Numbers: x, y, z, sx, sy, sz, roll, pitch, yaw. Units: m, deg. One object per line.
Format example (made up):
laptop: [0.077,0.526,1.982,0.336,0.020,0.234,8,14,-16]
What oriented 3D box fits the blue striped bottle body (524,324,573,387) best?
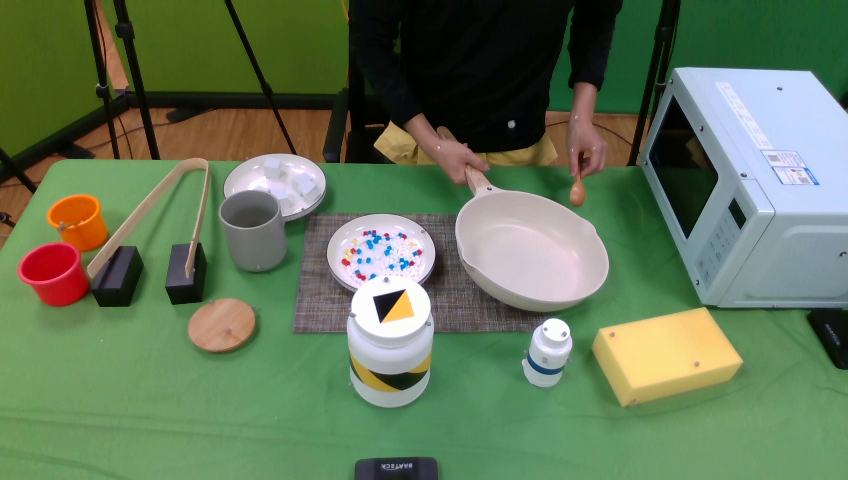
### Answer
blue striped bottle body: [0.200,0.178,0.970,0.063,0.121,0.062,2,46,-1]

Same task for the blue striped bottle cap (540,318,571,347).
blue striped bottle cap: [0.203,0.142,0.933,0.044,0.021,0.044,3,49,-3]

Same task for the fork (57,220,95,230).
fork: [-0.624,-0.027,1.086,0.028,0.207,0.018,-3,92,-17]

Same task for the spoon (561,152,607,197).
spoon: [0.339,-0.141,1.275,0.021,0.042,0.193,25,44,37]

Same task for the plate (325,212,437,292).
plate: [-0.080,0.030,1.143,0.209,0.038,0.208,2,46,-2]

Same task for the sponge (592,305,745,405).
sponge: [0.405,0.190,1.014,0.207,0.061,0.117,-10,48,-13]

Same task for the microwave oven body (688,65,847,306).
microwave oven body: [0.669,-0.111,1.176,0.326,0.261,0.439,0,46,-3]

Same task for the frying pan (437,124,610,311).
frying pan: [0.149,-0.059,1.175,0.307,0.103,0.485,-13,58,-29]

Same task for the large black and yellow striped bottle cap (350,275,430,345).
large black and yellow striped bottle cap: [-0.048,0.097,0.868,0.115,0.019,0.114,3,48,-3]

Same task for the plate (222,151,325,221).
plate: [-0.310,-0.106,1.262,0.208,0.039,0.206,2,47,-2]

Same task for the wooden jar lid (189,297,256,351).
wooden jar lid: [-0.342,0.145,1.033,0.108,0.021,0.107,2,45,-2]

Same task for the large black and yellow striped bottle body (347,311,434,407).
large black and yellow striped bottle body: [-0.052,0.157,0.929,0.131,0.185,0.130,2,47,-2]

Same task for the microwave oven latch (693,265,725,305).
microwave oven latch: [0.523,0.082,1.116,0.030,0.029,0.078,2,46,-1]

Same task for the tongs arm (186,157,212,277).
tongs arm: [-0.445,-0.058,1.168,0.051,0.026,0.382,-5,37,-6]

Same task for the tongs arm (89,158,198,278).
tongs arm: [-0.529,-0.057,1.164,0.028,0.028,0.385,1,36,8]

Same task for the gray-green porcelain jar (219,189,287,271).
gray-green porcelain jar: [-0.310,-0.014,1.113,0.106,0.127,0.105,2,46,-2]

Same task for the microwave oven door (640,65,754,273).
microwave oven door: [0.524,-0.147,1.193,0.039,0.245,0.353,0,47,-3]
